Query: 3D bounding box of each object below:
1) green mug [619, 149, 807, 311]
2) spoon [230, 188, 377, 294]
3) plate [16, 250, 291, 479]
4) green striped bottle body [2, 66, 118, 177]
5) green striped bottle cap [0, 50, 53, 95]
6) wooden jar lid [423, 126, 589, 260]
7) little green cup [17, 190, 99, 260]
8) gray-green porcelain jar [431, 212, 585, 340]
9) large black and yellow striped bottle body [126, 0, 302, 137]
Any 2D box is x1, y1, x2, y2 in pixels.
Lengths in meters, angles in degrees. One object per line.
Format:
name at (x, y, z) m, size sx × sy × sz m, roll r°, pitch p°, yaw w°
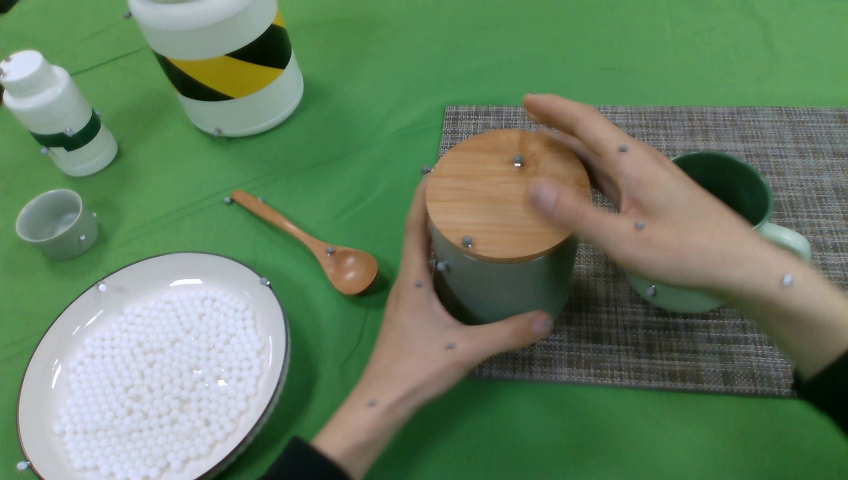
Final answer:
green mug at (0.217, 0.001, 0.457) m, size 0.124 × 0.106 × 0.092 m, roll 22°, pitch 60°, yaw 19°
spoon at (-0.116, -0.007, 0.553) m, size 0.192 × 0.022 × 0.041 m, roll 32°, pitch 83°, yaw 24°
plate at (-0.205, 0.103, 0.478) m, size 0.209 × 0.038 × 0.207 m, roll -3°, pitch 55°, yaw 4°
green striped bottle body at (-0.364, -0.123, 0.601) m, size 0.063 × 0.120 × 0.062 m, roll -3°, pitch 55°, yaw 5°
green striped bottle cap at (-0.369, -0.154, 0.559) m, size 0.044 × 0.020 × 0.044 m, roll -1°, pitch 57°, yaw 2°
wooden jar lid at (0.054, -0.030, 0.404) m, size 0.108 × 0.021 × 0.107 m, roll -4°, pitch 57°, yaw 7°
little green cup at (-0.343, -0.013, 0.572) m, size 0.061 × 0.039 × 0.061 m, roll -3°, pitch 54°, yaw 4°
gray-green porcelain jar at (0.060, 0.008, 0.457) m, size 0.106 × 0.127 × 0.105 m, roll -2°, pitch 54°, yaw 3°
large black and yellow striped bottle body at (-0.207, -0.209, 0.604) m, size 0.131 × 0.186 × 0.129 m, roll -3°, pitch 55°, yaw 5°
